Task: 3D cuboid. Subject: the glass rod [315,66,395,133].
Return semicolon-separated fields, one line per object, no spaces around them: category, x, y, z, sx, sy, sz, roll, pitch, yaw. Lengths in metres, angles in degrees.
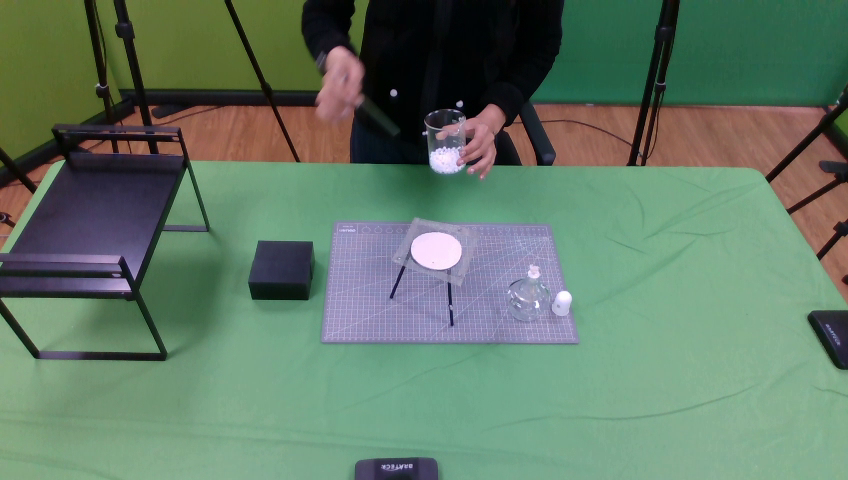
glass rod;-0.106;-0.222;0.978;0.008;0.201;0.008;-15;62;30

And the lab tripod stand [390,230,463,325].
lab tripod stand;0.014;0.060;1.056;0.148;0.132;0.147;1;48;-1

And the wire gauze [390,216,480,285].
wire gauze;0.020;0.012;1.009;0.125;0.011;0.121;16;47;12

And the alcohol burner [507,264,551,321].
alcohol burner;0.185;0.086;1.056;0.078;0.120;0.077;1;47;-1

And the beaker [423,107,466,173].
beaker;0.042;-0.177;1.099;0.074;0.101;0.083;-22;44;-17

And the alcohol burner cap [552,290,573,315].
alcohol burner cap;0.251;0.109;1.088;0.034;0.048;0.033;2;47;-2
